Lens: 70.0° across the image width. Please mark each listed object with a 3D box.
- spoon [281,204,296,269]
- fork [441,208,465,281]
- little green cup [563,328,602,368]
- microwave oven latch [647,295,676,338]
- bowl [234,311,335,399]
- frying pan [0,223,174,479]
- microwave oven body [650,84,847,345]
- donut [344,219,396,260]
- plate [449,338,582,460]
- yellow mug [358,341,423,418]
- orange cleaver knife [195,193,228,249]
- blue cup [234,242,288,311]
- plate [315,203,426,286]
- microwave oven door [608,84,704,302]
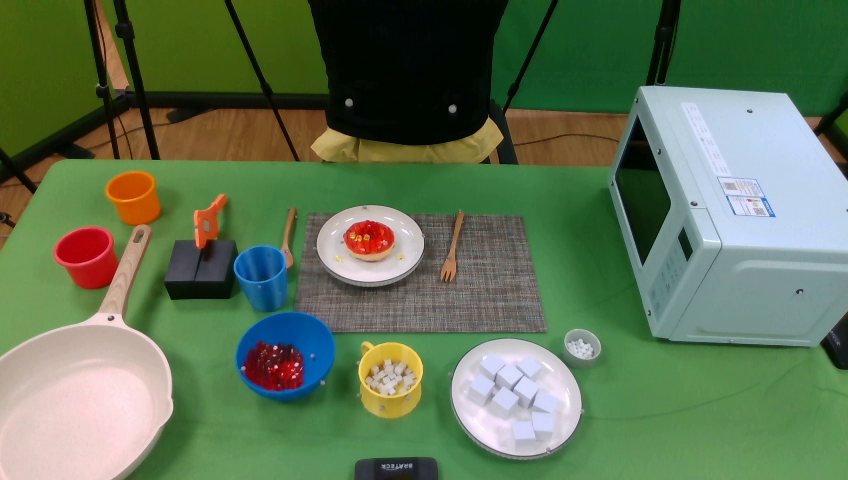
[{"bbox_3d":[-0.266,-0.008,1.182,0.041,0.022,0.192,-13,46,11],"label":"spoon"},{"bbox_3d":[0.061,0.005,1.190,0.028,0.019,0.206,3,47,13],"label":"fork"},{"bbox_3d":[0.266,0.185,1.025,0.061,0.039,0.061,1,45,-1],"label":"little green cup"},{"bbox_3d":[0.413,0.133,1.060,0.030,0.029,0.078,4,46,1],"label":"microwave oven latch"},{"bbox_3d":[-0.214,0.194,0.956,0.151,0.077,0.150,2,46,-2],"label":"bowl"},{"bbox_3d":[-0.505,0.169,0.941,0.307,0.103,0.485,5,54,-1],"label":"frying pan"},{"bbox_3d":[0.569,-0.054,1.116,0.326,0.261,0.439,2,46,-1],"label":"microwave oven body"},{"bbox_3d":[-0.103,-0.002,1.158,0.099,0.048,0.098,2,43,-2],"label":"donut"},{"bbox_3d":[0.141,0.251,0.955,0.208,0.039,0.206,2,46,-2],"label":"plate"},{"bbox_3d":[-0.063,0.210,0.961,0.100,0.064,0.130,-29,54,-28],"label":"yellow mug"},{"bbox_3d":[-0.406,-0.041,1.163,0.012,0.077,0.210,-1,18,-3],"label":"orange cleaver knife"},{"bbox_3d":[-0.276,0.071,1.052,0.092,0.101,0.092,1,48,-1],"label":"blue cup"},{"bbox_3d":[-0.101,0.012,1.160,0.209,0.038,0.208,2,46,-2],"label":"plate"},{"bbox_3d":[0.424,-0.096,1.138,0.039,0.245,0.353,2,46,-1],"label":"microwave oven door"}]
